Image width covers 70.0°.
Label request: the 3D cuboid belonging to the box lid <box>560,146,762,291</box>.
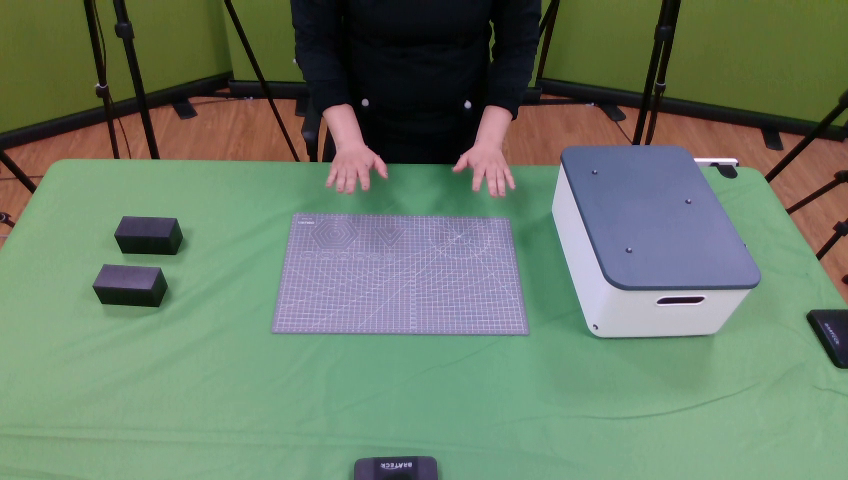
[{"bbox_3d":[0.404,-0.052,1.076,0.263,0.015,0.369,-1,45,-5],"label":"box lid"}]

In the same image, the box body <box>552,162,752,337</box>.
[{"bbox_3d":[0.401,-0.001,1.131,0.254,0.161,0.361,-1,46,-5],"label":"box body"}]
